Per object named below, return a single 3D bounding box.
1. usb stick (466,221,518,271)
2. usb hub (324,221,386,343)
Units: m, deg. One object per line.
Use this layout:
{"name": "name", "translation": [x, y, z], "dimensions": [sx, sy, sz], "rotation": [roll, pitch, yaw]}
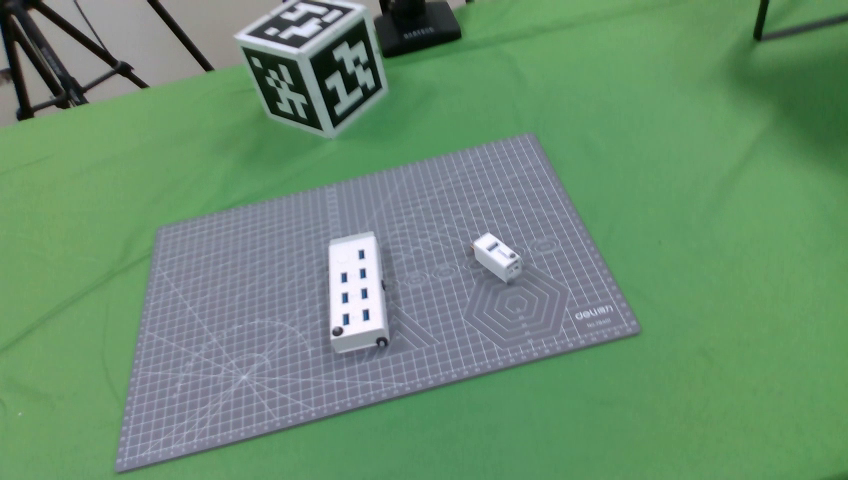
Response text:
{"name": "usb stick", "translation": [0.061, 0.002, 0.571], "dimensions": [0.021, 0.027, 0.058], "rotation": [-36, 47, -18]}
{"name": "usb hub", "translation": [-0.068, 0.036, 0.572], "dimensions": [0.049, 0.025, 0.123], "rotation": [-13, 46, 2]}
